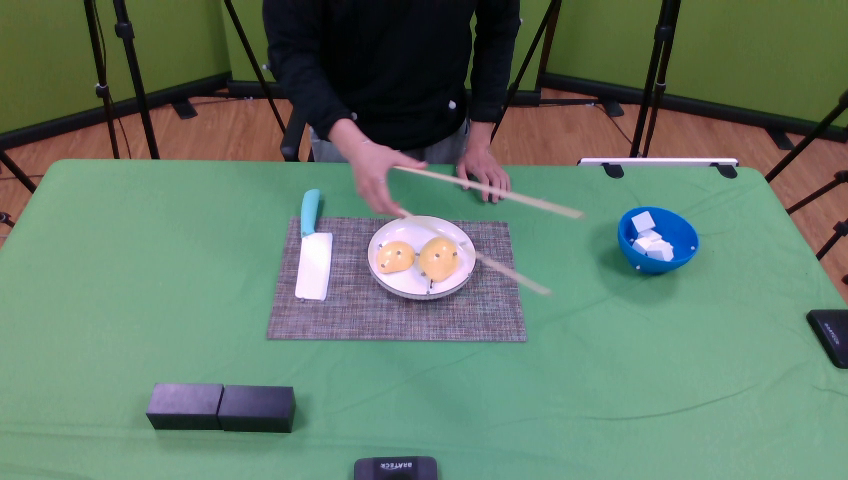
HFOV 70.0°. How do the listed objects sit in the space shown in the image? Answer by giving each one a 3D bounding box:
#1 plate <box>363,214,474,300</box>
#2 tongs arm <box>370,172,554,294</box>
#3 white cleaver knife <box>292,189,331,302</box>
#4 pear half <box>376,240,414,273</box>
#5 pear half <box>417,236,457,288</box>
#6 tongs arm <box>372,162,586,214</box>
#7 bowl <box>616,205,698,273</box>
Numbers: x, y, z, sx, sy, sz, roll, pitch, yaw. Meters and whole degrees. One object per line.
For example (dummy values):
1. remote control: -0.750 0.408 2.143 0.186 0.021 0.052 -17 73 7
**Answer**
1. plate: -0.010 0.036 1.146 0.208 0.039 0.206 2 46 -2
2. tongs arm: 0.051 -0.020 0.988 0.383 0.051 0.026 28 13 30
3. white cleaver knife: -0.215 0.006 1.178 0.066 0.021 0.284 4 49 -11
4. pear half: -0.058 0.026 1.146 0.070 0.031 0.088 23 43 22
5. pear half: 0.022 0.039 1.127 0.076 0.056 0.109 6 49 7
6. tongs arm: 0.074 -0.085 0.978 0.386 0.028 0.028 17 10 31
7. bowl: 0.443 0.011 1.182 0.151 0.077 0.150 2 46 -2
